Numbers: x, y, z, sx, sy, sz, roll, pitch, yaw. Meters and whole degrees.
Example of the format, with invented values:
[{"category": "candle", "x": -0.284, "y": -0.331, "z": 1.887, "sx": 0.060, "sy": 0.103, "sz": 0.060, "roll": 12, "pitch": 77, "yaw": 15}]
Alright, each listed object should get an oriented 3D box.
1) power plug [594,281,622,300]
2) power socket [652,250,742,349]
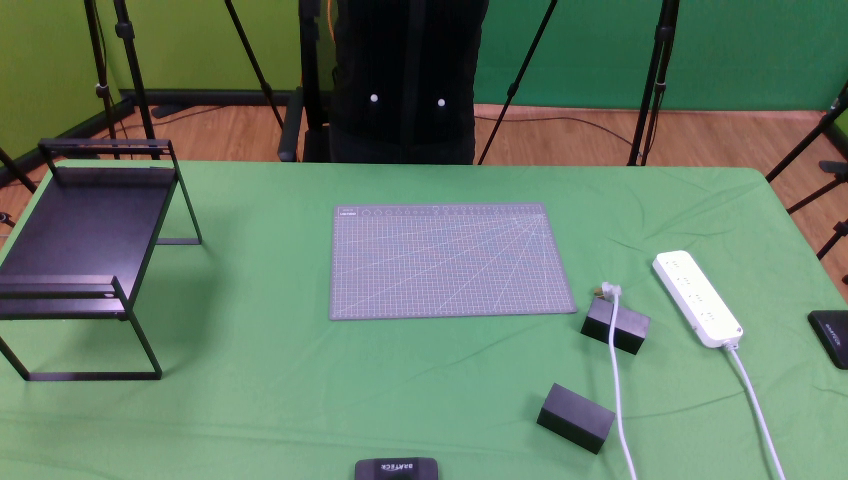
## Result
[{"category": "power plug", "x": 0.331, "y": 0.093, "z": 1.106, "sx": 0.052, "sy": 0.073, "sz": 0.035, "roll": -17, "pitch": 81, "yaw": 28}, {"category": "power socket", "x": 0.502, "y": 0.104, "z": 1.126, "sx": 0.072, "sy": 0.033, "sz": 0.225, "roll": -8, "pitch": 48, "yaw": -11}]
